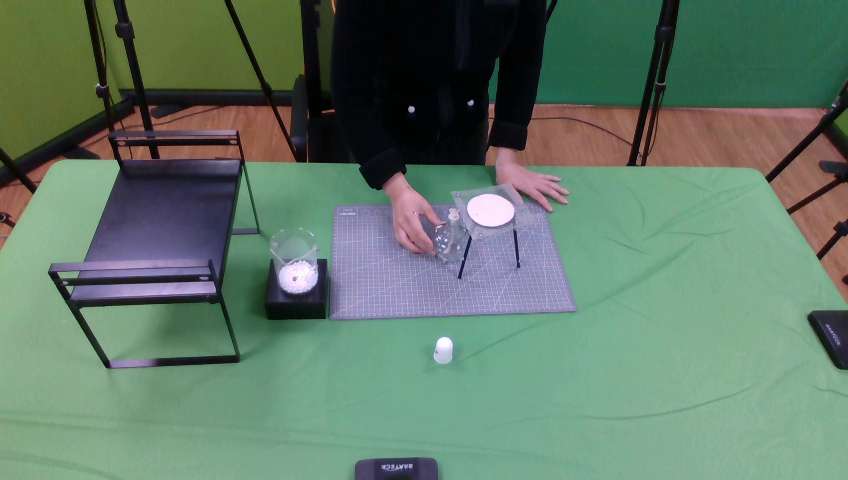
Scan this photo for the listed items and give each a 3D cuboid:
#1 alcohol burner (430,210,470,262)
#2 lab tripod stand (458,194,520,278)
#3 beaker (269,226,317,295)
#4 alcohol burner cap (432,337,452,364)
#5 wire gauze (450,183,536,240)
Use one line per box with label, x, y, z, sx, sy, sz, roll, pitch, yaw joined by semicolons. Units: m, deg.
alcohol burner;0.052;-0.014;1.148;0.078;0.119;0.077;3;48;-3
lab tripod stand;0.115;-0.011;1.135;0.148;0.132;0.147;1;45;-1
beaker;-0.218;0.040;1.020;0.074;0.101;0.083;6;47;2
alcohol burner cap;0.031;0.182;1.011;0.034;0.048;0.033;4;45;-4
wire gauze;0.122;-0.057;1.087;0.121;0.011;0.124;-12;47;-14
